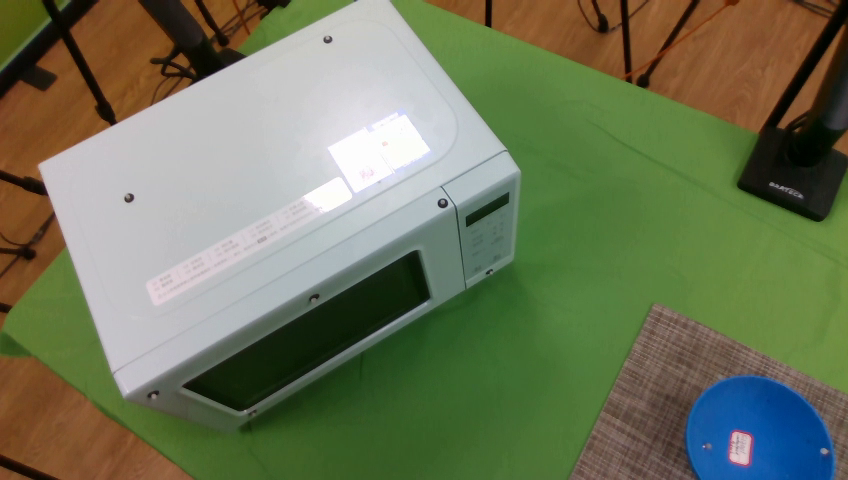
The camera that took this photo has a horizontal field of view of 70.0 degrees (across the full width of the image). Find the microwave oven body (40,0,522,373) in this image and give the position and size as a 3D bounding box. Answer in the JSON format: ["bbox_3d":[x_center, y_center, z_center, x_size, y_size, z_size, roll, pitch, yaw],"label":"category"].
[{"bbox_3d":[-0.153,-0.039,0.748,0.442,0.262,0.323,-30,67,-7],"label":"microwave oven body"}]

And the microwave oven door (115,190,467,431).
[{"bbox_3d":[-0.116,0.091,0.680,0.356,0.246,0.039,-30,65,-8],"label":"microwave oven door"}]

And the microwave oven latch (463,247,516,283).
[{"bbox_3d":[0.084,0.025,0.801,0.079,0.030,0.030,-29,67,-6],"label":"microwave oven latch"}]

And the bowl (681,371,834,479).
[{"bbox_3d":[0.356,0.229,0.675,0.151,0.077,0.150,-2,65,5],"label":"bowl"}]
